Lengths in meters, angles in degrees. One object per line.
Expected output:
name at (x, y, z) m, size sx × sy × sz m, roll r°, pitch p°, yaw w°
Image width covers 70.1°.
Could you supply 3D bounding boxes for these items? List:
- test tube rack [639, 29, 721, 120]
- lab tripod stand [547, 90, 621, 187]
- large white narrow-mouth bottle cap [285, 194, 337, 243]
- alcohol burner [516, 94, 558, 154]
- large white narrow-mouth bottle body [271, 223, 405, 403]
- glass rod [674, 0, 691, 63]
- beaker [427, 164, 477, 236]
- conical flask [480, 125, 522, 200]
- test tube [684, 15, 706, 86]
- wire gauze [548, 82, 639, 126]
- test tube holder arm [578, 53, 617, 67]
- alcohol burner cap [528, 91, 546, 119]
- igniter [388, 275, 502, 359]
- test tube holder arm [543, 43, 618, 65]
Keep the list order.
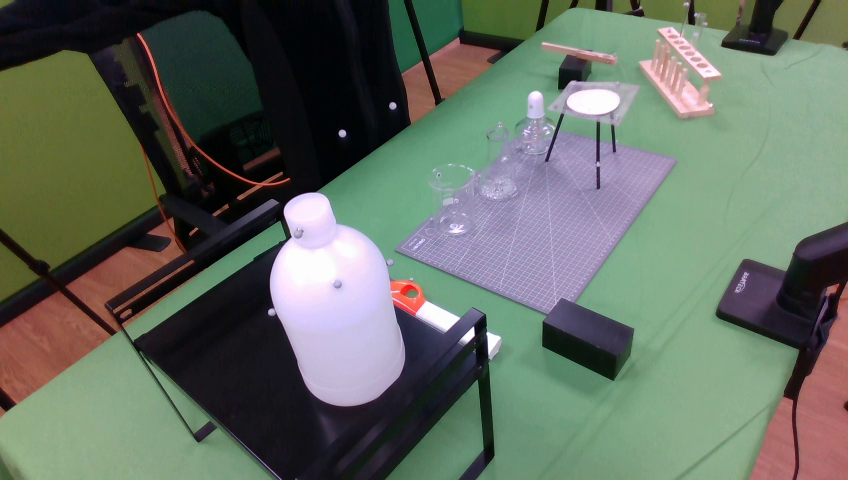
test tube rack at (0.527, -0.351, 1.262) m, size 0.067 × 0.085 × 0.241 m, roll -8°, pitch 40°, yaw 1°
lab tripod stand at (0.289, -0.184, 1.062) m, size 0.148 × 0.132 × 0.147 m, roll -6°, pitch 41°, yaw 6°
large white narrow-mouth bottle cap at (-0.087, -0.017, 0.467) m, size 0.038 × 0.024 × 0.037 m, roll -4°, pitch 40°, yaw 4°
alcohol burner at (0.212, -0.221, 1.134) m, size 0.078 × 0.119 × 0.077 m, roll -5°, pitch 42°, yaw 5°
large white narrow-mouth bottle body at (-0.077, 0.048, 0.525) m, size 0.102 × 0.195 × 0.101 m, roll -5°, pitch 41°, yaw 4°
glass rod at (0.537, -0.437, 1.257) m, size 0.008 × 0.200 × 0.008 m, roll 0°, pitch 39°, yaw 1°
beaker at (0.051, -0.064, 0.986) m, size 0.084 × 0.101 × 0.073 m, roll -23°, pitch 43°, yaw -18°
conical flask at (0.130, -0.135, 1.038) m, size 0.075 × 0.122 × 0.075 m, roll -4°, pitch 40°, yaw 4°
test tube at (0.541, -0.378, 1.215) m, size 0.017 × 0.151 × 0.017 m, roll -2°, pitch 44°, yaw 3°
wire gauze at (0.286, -0.235, 1.019) m, size 0.124 × 0.011 × 0.121 m, roll 17°, pitch 46°, yaw 28°
test tube holder arm at (0.376, -0.393, 1.314) m, size 0.087 × 0.015 × 0.010 m, roll 26°, pitch 51°, yaw 32°
alcohol burner cap at (0.206, -0.249, 1.111) m, size 0.034 × 0.048 × 0.033 m, roll -6°, pitch 34°, yaw 5°
igniter at (-0.009, 0.094, 0.870) m, size 0.274 × 0.025 × 0.057 m, roll 25°, pitch 61°, yaw 33°
test tube holder arm at (0.345, -0.413, 1.341) m, size 0.177 × 0.015 × 0.013 m, roll 25°, pitch 50°, yaw 31°
